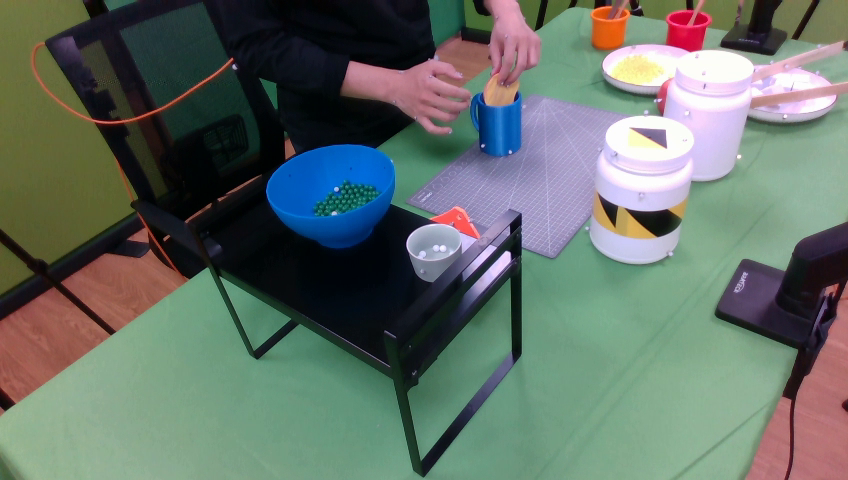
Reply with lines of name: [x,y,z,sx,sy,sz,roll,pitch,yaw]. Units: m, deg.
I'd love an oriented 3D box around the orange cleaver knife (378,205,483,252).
orange cleaver knife: [0.005,-0.010,0.944,0.210,0.077,0.012,-5,23,47]

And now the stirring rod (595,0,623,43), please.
stirring rod: [0.460,-0.556,1.460,0.014,0.006,0.176,30,93,23]

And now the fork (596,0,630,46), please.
fork: [0.481,-0.556,1.452,0.028,0.019,0.207,40,103,40]

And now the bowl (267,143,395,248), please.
bowl: [-0.104,-0.043,0.726,0.151,0.077,0.150,-4,41,4]

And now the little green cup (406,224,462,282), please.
little green cup: [0.012,0.015,0.668,0.061,0.039,0.061,-4,40,4]

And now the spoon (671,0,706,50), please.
spoon: [0.629,-0.520,1.394,0.041,0.022,0.193,30,96,34]

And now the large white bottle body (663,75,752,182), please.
large white bottle body: [0.472,-0.207,1.022,0.130,0.185,0.130,-4,41,4]

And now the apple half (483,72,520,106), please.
apple half: [0.137,-0.277,1.121,0.081,0.081,0.032,-25,37,-19]

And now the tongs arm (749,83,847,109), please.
tongs arm: [0.734,-0.280,1.133,0.388,0.028,0.028,-9,47,-5]

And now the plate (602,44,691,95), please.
plate: [0.495,-0.367,1.317,0.209,0.038,0.208,-4,40,4]

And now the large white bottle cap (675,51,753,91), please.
large white bottle cap: [0.463,-0.271,0.967,0.115,0.018,0.114,-4,40,4]

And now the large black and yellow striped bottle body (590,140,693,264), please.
large black and yellow striped bottle body: [0.317,-0.071,0.889,0.131,0.185,0.130,-4,41,4]

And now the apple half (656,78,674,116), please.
apple half: [0.488,-0.281,1.192,0.053,0.075,0.081,24,54,37]

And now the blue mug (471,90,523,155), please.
blue mug: [0.135,-0.235,1.163,0.082,0.106,0.115,-36,48,-29]

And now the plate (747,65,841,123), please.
plate: [0.695,-0.283,1.189,0.207,0.039,0.206,-4,40,4]

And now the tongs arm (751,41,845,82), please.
tongs arm: [0.708,-0.331,1.194,0.386,0.026,0.050,-19,45,-16]

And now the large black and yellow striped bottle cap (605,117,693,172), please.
large black and yellow striped bottle cap: [0.309,-0.134,0.833,0.115,0.019,0.114,-5,40,5]
